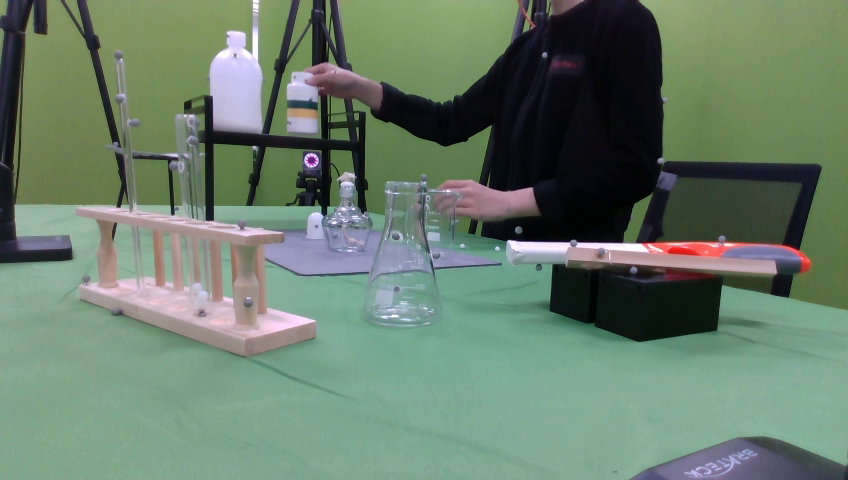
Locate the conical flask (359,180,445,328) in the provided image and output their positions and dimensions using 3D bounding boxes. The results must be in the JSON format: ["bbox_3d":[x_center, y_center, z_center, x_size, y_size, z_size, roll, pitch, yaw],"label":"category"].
[{"bbox_3d":[-0.017,0.010,0.522,0.075,0.122,0.075,2,7,0],"label":"conical flask"}]

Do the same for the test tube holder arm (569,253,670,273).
[{"bbox_3d":[0.172,0.019,0.532,0.088,0.015,0.010,3,-23,3],"label":"test tube holder arm"}]

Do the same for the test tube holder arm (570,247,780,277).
[{"bbox_3d":[0.217,0.019,0.525,0.178,0.015,0.013,3,-23,3],"label":"test tube holder arm"}]

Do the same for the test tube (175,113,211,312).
[{"bbox_3d":[-0.174,-0.020,0.458,0.017,0.150,0.017,-2,5,1],"label":"test tube"}]

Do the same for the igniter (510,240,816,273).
[{"bbox_3d":[0.220,0.015,0.565,0.277,0.025,0.057,2,16,0],"label":"igniter"}]

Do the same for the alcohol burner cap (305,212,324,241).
[{"bbox_3d":[-0.185,-0.023,1.027,0.034,0.048,0.034,2,7,0],"label":"alcohol burner cap"}]

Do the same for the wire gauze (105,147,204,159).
[{"bbox_3d":[-0.407,-0.131,0.928,0.125,0.011,0.121,2,6,-11],"label":"wire gauze"}]

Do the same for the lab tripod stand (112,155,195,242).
[{"bbox_3d":[-0.405,-0.064,0.931,0.148,0.131,0.148,1,6,0],"label":"lab tripod stand"}]

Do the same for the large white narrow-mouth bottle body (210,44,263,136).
[{"bbox_3d":[-0.369,-0.306,1.194,0.102,0.194,0.102,3,8,0],"label":"large white narrow-mouth bottle body"}]

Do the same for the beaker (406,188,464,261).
[{"bbox_3d":[0.014,-0.024,0.870,0.084,0.100,0.074,3,8,-4],"label":"beaker"}]

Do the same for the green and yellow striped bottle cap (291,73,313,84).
[{"bbox_3d":[-0.248,-0.328,1.233,0.045,0.020,0.045,3,7,0],"label":"green and yellow striped bottle cap"}]

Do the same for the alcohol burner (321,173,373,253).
[{"bbox_3d":[-0.115,-0.041,0.905,0.078,0.119,0.078,1,6,0],"label":"alcohol burner"}]

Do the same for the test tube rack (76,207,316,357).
[{"bbox_3d":[-0.196,0.023,0.499,0.241,0.085,0.067,8,9,36],"label":"test tube rack"}]

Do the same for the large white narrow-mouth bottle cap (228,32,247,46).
[{"bbox_3d":[-0.364,-0.390,1.180,0.038,0.024,0.037,3,8,0],"label":"large white narrow-mouth bottle cap"}]

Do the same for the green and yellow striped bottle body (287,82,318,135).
[{"bbox_3d":[-0.249,-0.277,1.242,0.063,0.119,0.063,3,9,0],"label":"green and yellow striped bottle body"}]

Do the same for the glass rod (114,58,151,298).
[{"bbox_3d":[-0.236,-0.044,0.492,0.008,0.199,0.008,1,15,0],"label":"glass rod"}]
